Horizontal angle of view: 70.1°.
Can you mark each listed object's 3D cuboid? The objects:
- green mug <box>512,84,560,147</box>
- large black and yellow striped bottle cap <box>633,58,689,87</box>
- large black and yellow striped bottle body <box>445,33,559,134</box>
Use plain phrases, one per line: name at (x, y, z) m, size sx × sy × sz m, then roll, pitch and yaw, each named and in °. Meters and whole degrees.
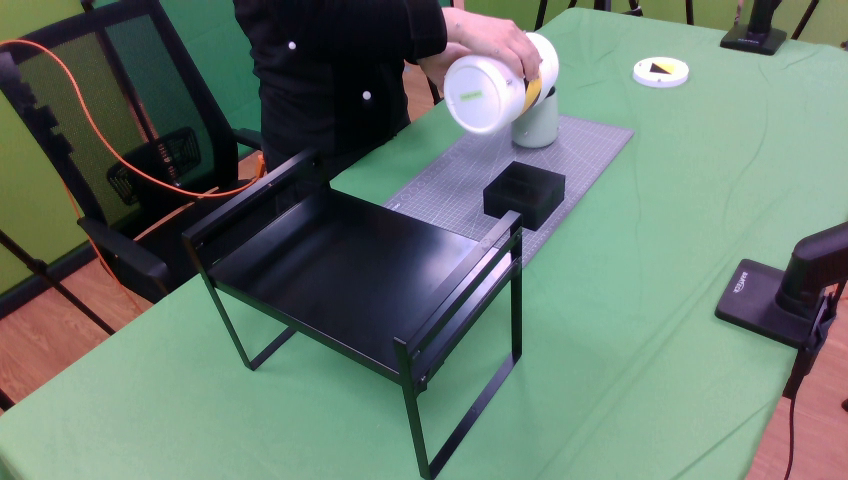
green mug at (0.217, -0.251, 1.169) m, size 0.092 × 0.105 × 0.125 m, roll 2°, pitch 41°, yaw 12°
large black and yellow striped bottle cap at (0.522, -0.370, 1.331) m, size 0.115 × 0.019 × 0.114 m, roll -3°, pitch 41°, yaw 4°
large black and yellow striped bottle body at (0.138, -0.271, 1.024) m, size 0.129 × 0.131 × 0.184 m, roll 24°, pitch 45°, yaw 32°
